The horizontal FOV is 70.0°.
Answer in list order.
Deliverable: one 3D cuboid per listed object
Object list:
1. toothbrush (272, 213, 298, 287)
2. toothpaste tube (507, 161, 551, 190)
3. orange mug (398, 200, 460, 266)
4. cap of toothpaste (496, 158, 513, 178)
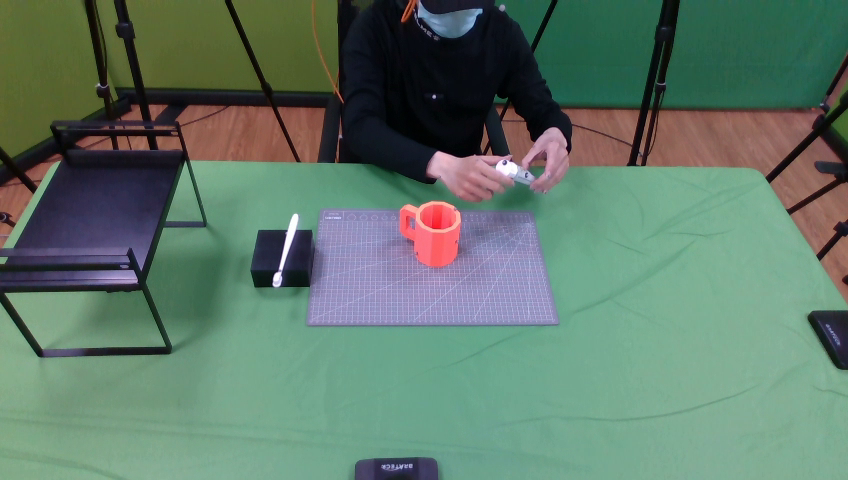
[{"bbox_3d":[-0.252,0.012,1.103,0.014,0.017,0.181,1,46,3],"label":"toothbrush"},{"bbox_3d":[0.202,-0.129,1.215,0.166,0.034,0.055,8,36,-53],"label":"toothpaste tube"},{"bbox_3d":[0.007,-0.020,1.161,0.126,0.101,0.083,27,50,15],"label":"orange mug"},{"bbox_3d":[0.154,-0.138,1.153,0.037,0.037,0.011,44,21,31],"label":"cap of toothpaste"}]
